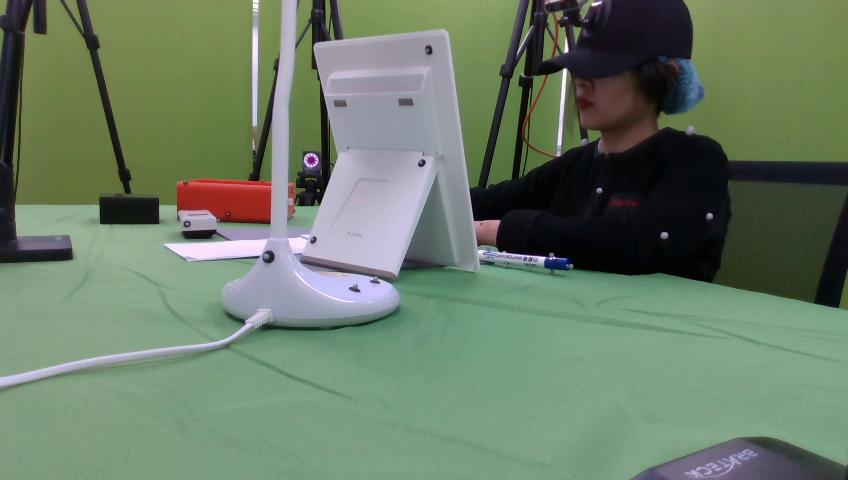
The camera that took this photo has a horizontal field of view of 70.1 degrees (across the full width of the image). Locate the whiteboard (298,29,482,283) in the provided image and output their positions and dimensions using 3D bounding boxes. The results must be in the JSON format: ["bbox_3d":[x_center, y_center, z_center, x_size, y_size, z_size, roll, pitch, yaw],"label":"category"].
[{"bbox_3d":[-0.075,-0.082,0.742,0.216,0.305,0.144,9,29,37],"label":"whiteboard"}]

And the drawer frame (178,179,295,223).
[{"bbox_3d":[-0.397,-0.088,1.315,0.214,0.082,0.201,1,8,-7],"label":"drawer frame"}]

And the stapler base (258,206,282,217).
[{"bbox_3d":[-0.331,-0.064,1.305,0.041,0.024,0.130,9,-2,-9],"label":"stapler base"}]

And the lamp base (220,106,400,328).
[{"bbox_3d":[-0.101,-0.023,0.531,0.160,0.180,0.179,4,10,10],"label":"lamp base"}]

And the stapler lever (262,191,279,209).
[{"bbox_3d":[-0.329,-0.086,1.306,0.027,0.040,0.118,9,3,-9],"label":"stapler lever"}]

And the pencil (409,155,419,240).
[{"bbox_3d":[-0.017,-0.081,1.112,0.012,0.193,0.012,-3,-32,-1],"label":"pencil"}]

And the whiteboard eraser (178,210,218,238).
[{"bbox_3d":[-0.380,-0.027,1.014,0.056,0.042,0.112,0,8,-25],"label":"whiteboard eraser"}]

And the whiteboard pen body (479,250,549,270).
[{"bbox_3d":[0.130,0.028,0.827,0.140,0.017,0.017,7,9,38],"label":"whiteboard pen body"}]

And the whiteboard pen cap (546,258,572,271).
[{"bbox_3d":[0.175,0.032,0.790,0.033,0.018,0.018,3,7,37],"label":"whiteboard pen cap"}]

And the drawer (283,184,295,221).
[{"bbox_3d":[-0.394,-0.086,1.317,0.212,0.073,0.194,1,8,-7],"label":"drawer"}]
